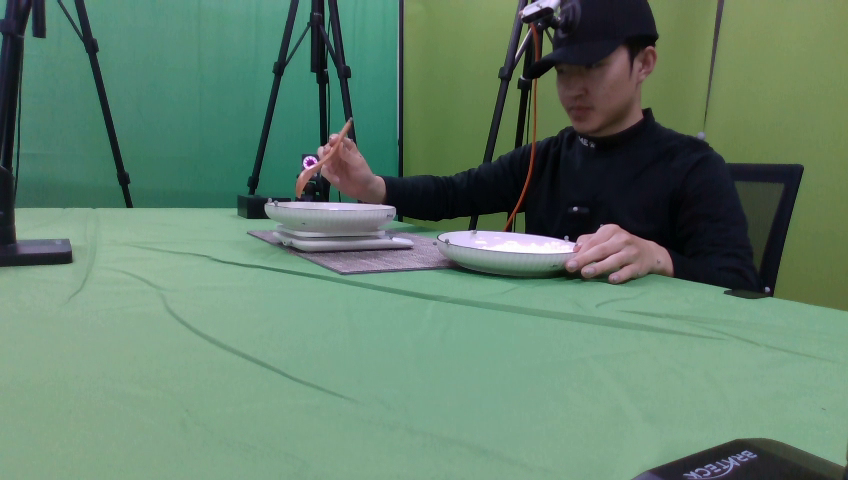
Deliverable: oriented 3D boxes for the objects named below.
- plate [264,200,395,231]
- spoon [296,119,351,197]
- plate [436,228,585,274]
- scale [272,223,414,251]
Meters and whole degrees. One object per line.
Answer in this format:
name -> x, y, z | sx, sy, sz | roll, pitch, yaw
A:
plate -> -0.150, -0.040, 0.971 | 0.208, 0.039, 0.207 | 2, 6, 0
spoon -> -0.168, -0.144, 1.030 | 0.021, 0.041, 0.194 | 27, 54, 6
plate -> 0.121, 0.016, 0.856 | 0.209, 0.038, 0.209 | 3, 8, 0
scale -> -0.131, -0.008, 0.983 | 0.202, 0.031, 0.148 | -2, 8, -32
